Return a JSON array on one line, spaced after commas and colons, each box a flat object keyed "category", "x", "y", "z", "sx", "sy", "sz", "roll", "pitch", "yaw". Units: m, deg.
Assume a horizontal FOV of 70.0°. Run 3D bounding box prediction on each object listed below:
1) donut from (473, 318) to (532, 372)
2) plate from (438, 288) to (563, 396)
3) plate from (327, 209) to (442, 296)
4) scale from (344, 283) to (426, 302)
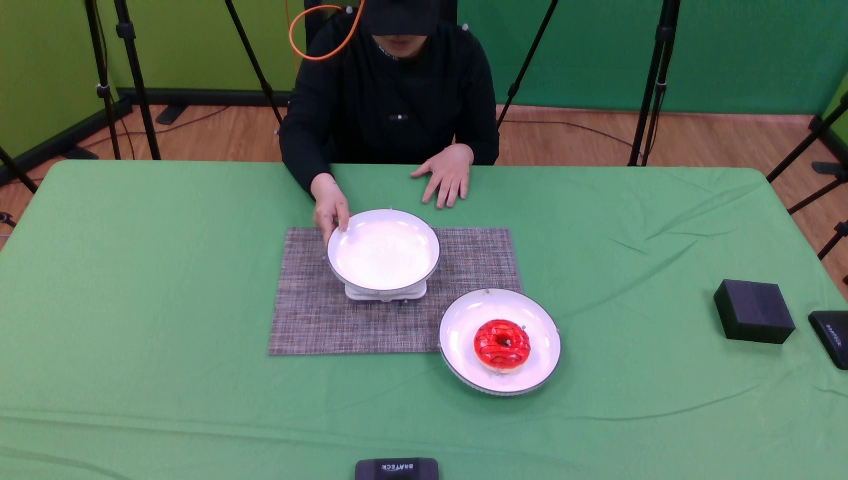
[{"category": "donut", "x": 0.131, "y": 0.174, "z": 1.010, "sx": 0.099, "sy": 0.048, "sz": 0.098, "roll": 1, "pitch": 48, "yaw": -1}, {"category": "plate", "x": 0.127, "y": 0.173, "z": 1.025, "sx": 0.209, "sy": 0.038, "sz": 0.208, "roll": 3, "pitch": 48, "yaw": -3}, {"category": "plate", "x": -0.071, "y": 0.026, "z": 1.110, "sx": 0.208, "sy": 0.039, "sz": 0.206, "roll": 2, "pitch": 46, "yaw": -1}, {"category": "scale", "x": -0.075, "y": 0.033, "z": 1.149, "sx": 0.149, "sy": 0.032, "sz": 0.199, "roll": 0, "pitch": 45, "yaw": -5}]
